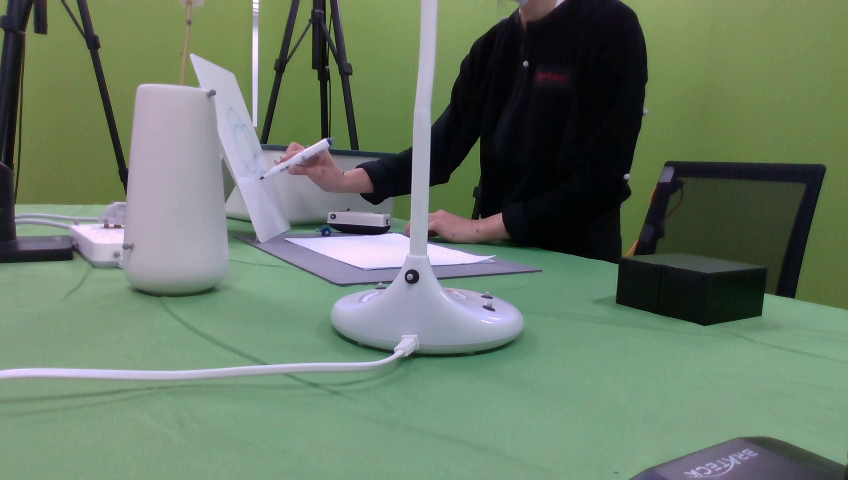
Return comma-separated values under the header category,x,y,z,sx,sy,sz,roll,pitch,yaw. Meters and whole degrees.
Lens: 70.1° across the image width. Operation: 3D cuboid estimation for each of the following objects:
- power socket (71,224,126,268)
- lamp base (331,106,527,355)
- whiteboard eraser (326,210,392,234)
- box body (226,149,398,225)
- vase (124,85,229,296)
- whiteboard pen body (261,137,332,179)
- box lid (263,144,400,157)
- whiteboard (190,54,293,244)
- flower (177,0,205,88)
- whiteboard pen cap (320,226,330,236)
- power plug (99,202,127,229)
category,x,y,z,sx,sy,sz,roll,pitch,yaw
power socket,-0.409,0.004,0.793,0.072,0.032,0.225,-2,8,-37
lamp base,0.006,-0.012,0.478,0.161,0.180,0.179,2,10,2
whiteboard eraser,-0.121,-0.033,1.131,0.112,0.042,0.056,4,8,13
box body,-0.265,-0.129,1.380,0.253,0.160,0.366,8,9,39
vase,-0.244,-0.047,0.598,0.098,0.200,0.098,3,8,0
whiteboard pen body,-0.223,-0.140,1.047,0.141,0.017,0.017,-29,10,-1
box lid,-0.263,-0.203,1.369,0.262,0.015,0.373,9,10,39
whiteboard,-0.362,-0.129,1.028,0.144,0.305,0.217,-18,7,3
flower,-0.243,-0.131,0.609,0.044,0.361,0.038,-5,-12,11
whiteboard pen cap,-0.176,-0.016,1.075,0.018,0.018,0.033,1,5,-13
power plug,-0.415,-0.026,0.848,0.073,0.052,0.035,6,5,-28
